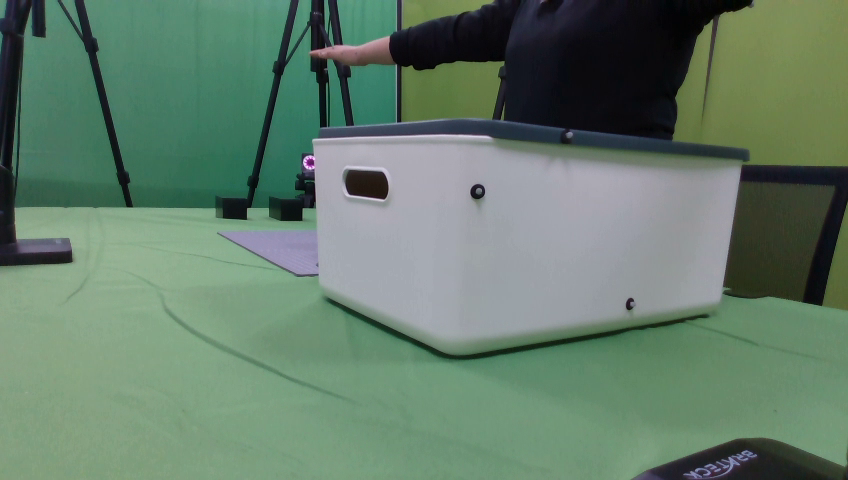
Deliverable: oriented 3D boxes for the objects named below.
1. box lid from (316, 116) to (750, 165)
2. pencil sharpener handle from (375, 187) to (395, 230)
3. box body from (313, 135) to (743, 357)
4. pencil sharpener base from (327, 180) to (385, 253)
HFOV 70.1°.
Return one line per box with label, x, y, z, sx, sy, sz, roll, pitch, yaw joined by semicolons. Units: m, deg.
box lid;0.106;-0.089;0.593;0.374;0.015;0.262;-1;6;-35
pencil sharpener handle;-0.059;-0.050;0.958;0.031;0.067;0.036;-1;13;-30
box body;0.099;-0.011;0.596;0.366;0.160;0.253;-2;8;-34
pencil sharpener base;-0.103;-0.037;0.932;0.077;0.107;0.061;-1;7;-30
